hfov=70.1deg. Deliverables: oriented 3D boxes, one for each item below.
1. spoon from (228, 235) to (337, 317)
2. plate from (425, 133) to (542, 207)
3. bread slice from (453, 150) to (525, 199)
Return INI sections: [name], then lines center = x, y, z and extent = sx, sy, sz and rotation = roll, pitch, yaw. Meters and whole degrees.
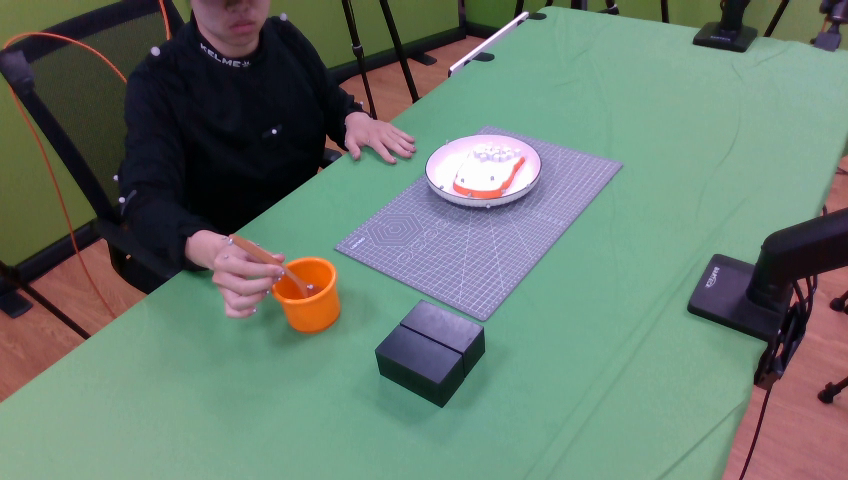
[spoon]
center = -0.186, 0.047, 0.813
extent = 0.021, 0.195, 0.041
rotation = -13, 48, 32
[plate]
center = 0.106, -0.121, 1.079
extent = 0.209, 0.038, 0.208
rotation = -4, 41, 4
[bread slice]
center = 0.112, -0.118, 1.079
extent = 0.104, 0.019, 0.131
rotation = 11, 42, 21
